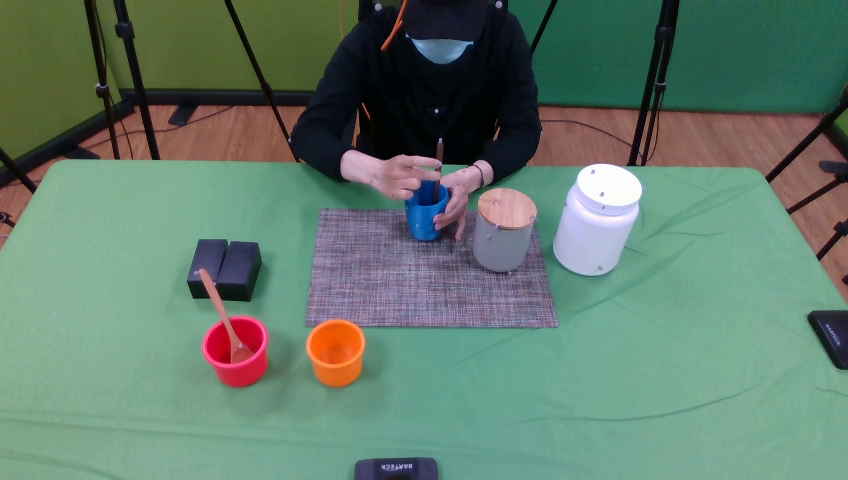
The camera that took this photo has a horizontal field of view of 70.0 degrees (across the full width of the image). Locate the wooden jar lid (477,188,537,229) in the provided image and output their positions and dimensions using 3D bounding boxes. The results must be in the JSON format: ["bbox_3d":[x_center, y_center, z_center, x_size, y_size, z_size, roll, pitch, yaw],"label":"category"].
[{"bbox_3d":[0.149,-0.054,1.094,0.108,0.021,0.107,4,45,-4],"label":"wooden jar lid"}]

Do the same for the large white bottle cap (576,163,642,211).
[{"bbox_3d":[0.330,-0.096,1.081,0.115,0.018,0.114,2,46,-2],"label":"large white bottle cap"}]

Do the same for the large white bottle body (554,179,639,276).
[{"bbox_3d":[0.326,-0.037,1.141,0.131,0.185,0.130,2,46,-2],"label":"large white bottle body"}]

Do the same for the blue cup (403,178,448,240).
[{"bbox_3d":[0.003,-0.055,1.181,0.092,0.101,0.092,0,45,0],"label":"blue cup"}]

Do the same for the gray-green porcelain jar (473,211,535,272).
[{"bbox_3d":[0.147,-0.010,1.140,0.106,0.127,0.105,2,46,-2],"label":"gray-green porcelain jar"}]

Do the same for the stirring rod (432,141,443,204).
[{"bbox_3d":[0.024,-0.108,1.148,0.014,0.177,0.006,-28,48,-35],"label":"stirring rod"}]

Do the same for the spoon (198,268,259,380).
[{"bbox_3d":[-0.313,0.132,0.962,0.041,0.021,0.194,-24,96,-19],"label":"spoon"}]
